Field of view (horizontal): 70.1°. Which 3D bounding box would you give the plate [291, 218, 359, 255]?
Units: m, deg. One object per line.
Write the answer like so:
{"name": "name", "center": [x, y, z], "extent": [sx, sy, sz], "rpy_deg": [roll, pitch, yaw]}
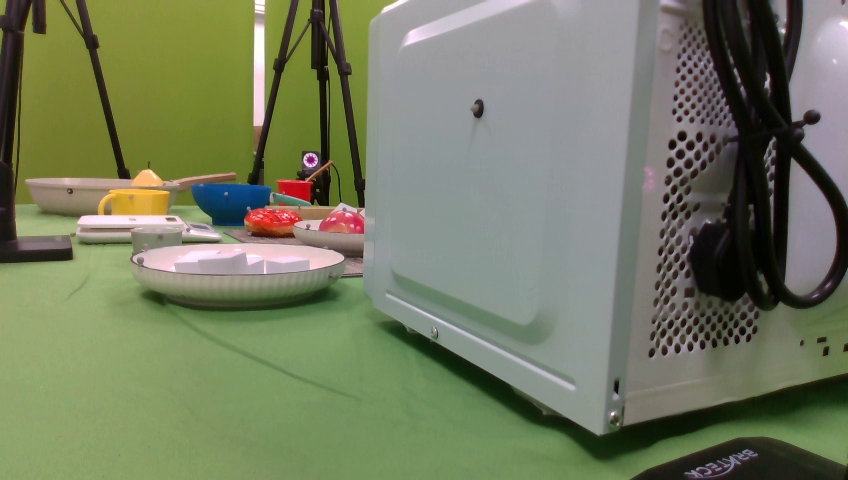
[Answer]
{"name": "plate", "center": [-0.098, -0.007, 0.928], "extent": [0.209, 0.038, 0.209], "rpy_deg": [2, 8, 0]}

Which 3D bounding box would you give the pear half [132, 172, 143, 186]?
{"name": "pear half", "center": [-0.638, -0.113, 1.361], "extent": [0.031, 0.088, 0.070], "rpy_deg": [5, 10, 4]}

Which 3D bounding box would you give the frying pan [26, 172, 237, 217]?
{"name": "frying pan", "center": [-0.624, -0.118, 1.387], "extent": [0.305, 0.102, 0.490], "rpy_deg": [8, 17, 32]}

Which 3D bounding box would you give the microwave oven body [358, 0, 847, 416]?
{"name": "microwave oven body", "center": [0.211, -0.047, 0.475], "extent": [0.444, 0.260, 0.324], "rpy_deg": [-1, 8, -28]}

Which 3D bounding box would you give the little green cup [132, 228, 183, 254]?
{"name": "little green cup", "center": [-0.342, 0.006, 0.779], "extent": [0.061, 0.038, 0.061], "rpy_deg": [2, 8, 0]}

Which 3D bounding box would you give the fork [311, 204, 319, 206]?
{"name": "fork", "center": [-0.356, -0.105, 1.526], "extent": [0.208, 0.018, 0.028], "rpy_deg": [16, -5, -41]}

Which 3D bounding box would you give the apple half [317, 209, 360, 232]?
{"name": "apple half", "center": [-0.122, -0.020, 0.900], "extent": [0.080, 0.053, 0.075], "rpy_deg": [4, 10, 14]}

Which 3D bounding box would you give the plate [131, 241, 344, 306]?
{"name": "plate", "center": [-0.187, 0.033, 0.625], "extent": [0.208, 0.039, 0.207], "rpy_deg": [2, 8, 0]}

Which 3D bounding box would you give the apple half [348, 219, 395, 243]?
{"name": "apple half", "center": [-0.083, -0.018, 0.967], "extent": [0.081, 0.033, 0.081], "rpy_deg": [5, 10, -1]}

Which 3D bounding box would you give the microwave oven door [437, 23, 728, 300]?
{"name": "microwave oven door", "center": [0.181, -0.072, 0.621], "extent": [0.358, 0.243, 0.039], "rpy_deg": [-2, 8, -29]}

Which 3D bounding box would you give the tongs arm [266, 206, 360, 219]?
{"name": "tongs arm", "center": [-0.174, -0.060, 1.363], "extent": [0.387, 0.026, 0.050], "rpy_deg": [-1, 3, -31]}

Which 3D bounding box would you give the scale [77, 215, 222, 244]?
{"name": "scale", "center": [-0.434, -0.019, 0.963], "extent": [0.202, 0.031, 0.148], "rpy_deg": [-1, 9, -27]}

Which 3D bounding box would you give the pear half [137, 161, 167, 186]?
{"name": "pear half", "center": [-0.602, -0.120, 1.354], "extent": [0.056, 0.110, 0.076], "rpy_deg": [4, 11, 6]}

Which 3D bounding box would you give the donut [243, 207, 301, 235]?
{"name": "donut", "center": [-0.261, -0.032, 1.043], "extent": [0.099, 0.048, 0.099], "rpy_deg": [4, 9, 0]}

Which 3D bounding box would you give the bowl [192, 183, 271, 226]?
{"name": "bowl", "center": [-0.382, -0.071, 1.202], "extent": [0.151, 0.077, 0.151], "rpy_deg": [3, 7, 0]}

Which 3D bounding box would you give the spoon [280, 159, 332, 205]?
{"name": "spoon", "center": [-0.317, -0.158, 1.640], "extent": [0.194, 0.022, 0.041], "rpy_deg": [-50, 30, -20]}

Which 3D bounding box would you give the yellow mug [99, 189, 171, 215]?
{"name": "yellow mug", "center": [-0.518, -0.055, 1.080], "extent": [0.099, 0.064, 0.131], "rpy_deg": [6, 9, 26]}

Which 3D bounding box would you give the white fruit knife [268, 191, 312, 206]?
{"name": "white fruit knife", "center": [-0.364, -0.105, 1.464], "extent": [0.208, 0.027, 0.016], "rpy_deg": [15, 0, -34]}

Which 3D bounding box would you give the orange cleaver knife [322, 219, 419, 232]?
{"name": "orange cleaver knife", "center": [-0.097, -0.027, 1.153], "extent": [0.077, 0.012, 0.212], "rpy_deg": [1, 6, 41]}

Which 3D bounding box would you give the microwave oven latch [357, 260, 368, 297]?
{"name": "microwave oven latch", "center": [-0.019, 0.033, 0.530], "extent": [0.079, 0.029, 0.030], "rpy_deg": [0, 7, -26]}

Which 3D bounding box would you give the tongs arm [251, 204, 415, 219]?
{"name": "tongs arm", "center": [-0.211, -0.067, 1.439], "extent": [0.389, 0.027, 0.028], "rpy_deg": [1, -1, -17]}
